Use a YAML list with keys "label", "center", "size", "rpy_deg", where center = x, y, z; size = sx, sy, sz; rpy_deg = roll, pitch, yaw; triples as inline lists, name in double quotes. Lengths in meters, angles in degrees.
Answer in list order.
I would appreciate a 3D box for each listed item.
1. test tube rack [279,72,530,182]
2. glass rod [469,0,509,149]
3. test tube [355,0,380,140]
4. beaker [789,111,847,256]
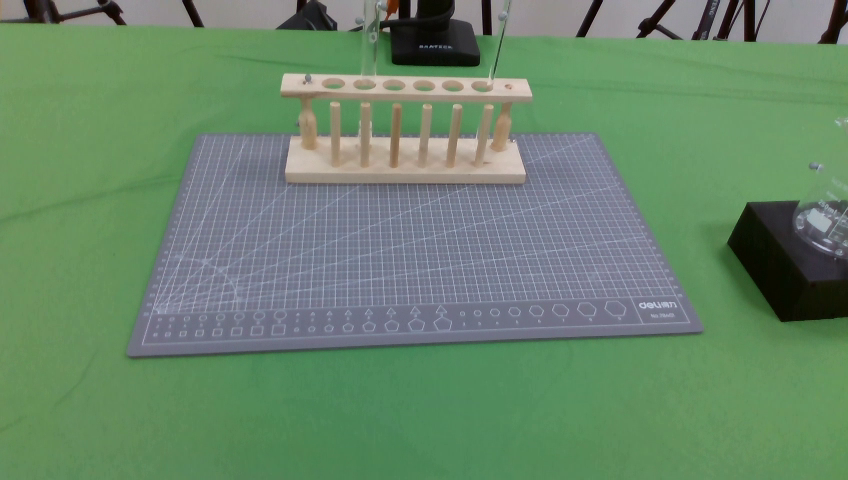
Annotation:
- label: "test tube rack"
  center: [-0.019, -0.113, 0.610]
  size: [0.243, 0.086, 0.066]
  rpy_deg: [0, 43, -5]
- label: "glass rod"
  center: [0.063, -0.169, 0.579]
  size: [0.008, 0.201, 0.008]
  rpy_deg: [6, 45, -5]
- label: "test tube"
  center: [-0.056, -0.161, 0.585]
  size: [0.017, 0.151, 0.017]
  rpy_deg: [6, 41, -4]
- label: "beaker"
  center: [0.349, -0.044, 0.489]
  size: [0.074, 0.101, 0.083]
  rpy_deg: [-24, 49, -28]
